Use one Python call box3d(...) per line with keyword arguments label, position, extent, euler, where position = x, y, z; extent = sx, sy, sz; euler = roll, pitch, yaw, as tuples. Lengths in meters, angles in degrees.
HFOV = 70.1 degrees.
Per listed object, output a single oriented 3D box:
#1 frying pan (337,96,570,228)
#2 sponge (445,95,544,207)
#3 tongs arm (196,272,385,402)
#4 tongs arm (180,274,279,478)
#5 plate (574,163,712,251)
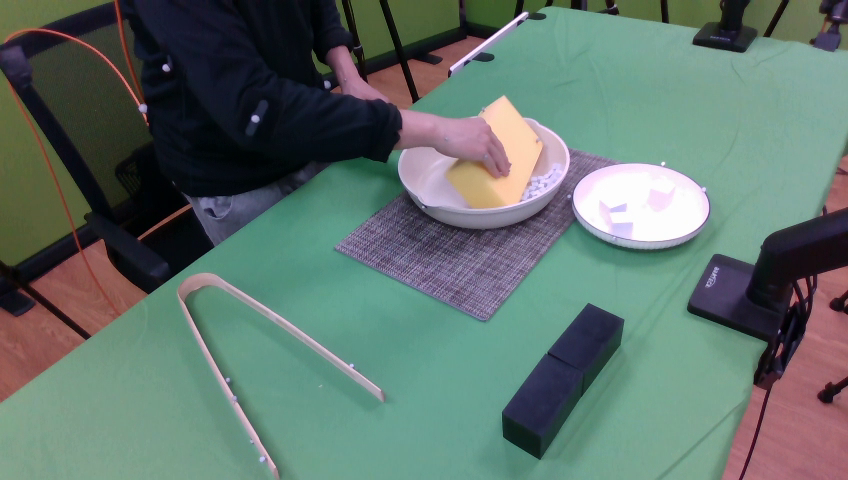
box3d(label="frying pan", position=(0.023, -0.167, 1.090), extent=(0.484, 0.103, 0.308), euler=(32, 52, 26))
box3d(label="sponge", position=(0.124, -0.139, 1.020), extent=(0.060, 0.119, 0.206), euler=(-29, 24, 41))
box3d(label="tongs arm", position=(-0.198, 0.125, 0.847), extent=(0.384, 0.028, 0.028), euler=(25, 52, 32))
box3d(label="tongs arm", position=(-0.259, 0.161, 0.807), extent=(0.051, 0.026, 0.381), euler=(-29, 44, -25))
box3d(label="plate", position=(0.344, -0.050, 0.966), extent=(0.207, 0.039, 0.206), euler=(-4, 40, 4))
